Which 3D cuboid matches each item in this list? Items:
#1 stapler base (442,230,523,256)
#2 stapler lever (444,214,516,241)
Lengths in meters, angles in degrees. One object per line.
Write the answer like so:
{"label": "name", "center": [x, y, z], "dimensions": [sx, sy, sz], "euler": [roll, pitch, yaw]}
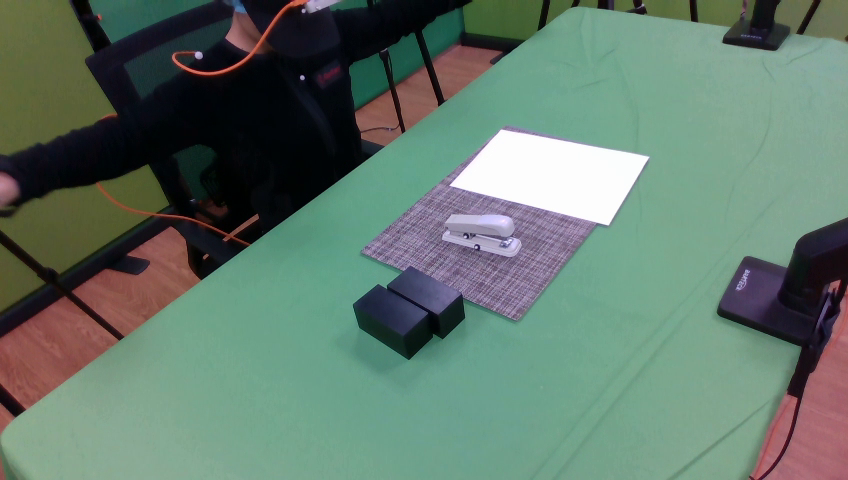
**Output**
{"label": "stapler base", "center": [0.093, -0.007, 0.967], "dimensions": [0.129, 0.024, 0.041], "euler": [13, 42, 27]}
{"label": "stapler lever", "center": [0.088, -0.026, 0.952], "dimensions": [0.117, 0.040, 0.027], "euler": [13, 42, 27]}
